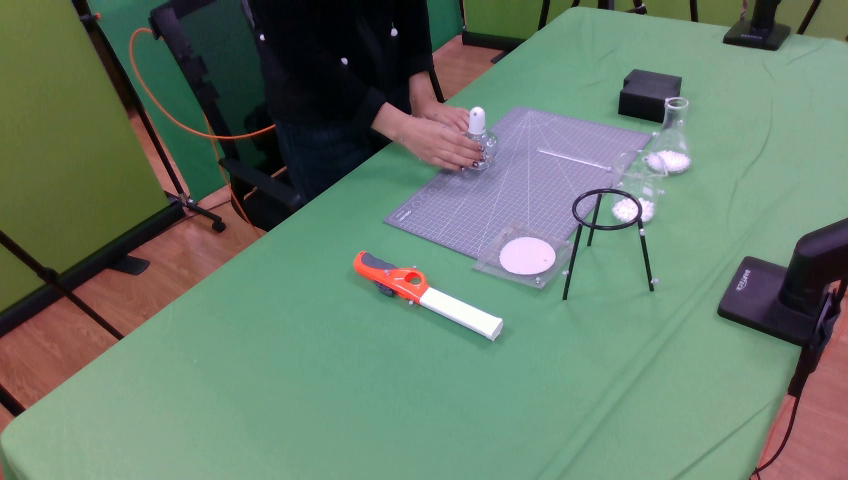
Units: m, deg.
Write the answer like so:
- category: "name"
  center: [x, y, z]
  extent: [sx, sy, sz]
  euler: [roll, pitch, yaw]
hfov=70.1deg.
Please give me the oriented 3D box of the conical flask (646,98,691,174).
- category: "conical flask"
  center: [0.426, -0.180, 1.037]
  extent: [0.075, 0.122, 0.075]
  euler: [-5, 40, 5]

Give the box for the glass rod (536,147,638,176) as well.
- category: "glass rod"
  center: [0.294, -0.145, 1.104]
  extent: [0.198, 0.008, 0.008]
  euler: [22, 50, 31]

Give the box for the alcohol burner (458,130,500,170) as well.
- category: "alcohol burner"
  center: [0.100, -0.190, 1.112]
  extent: [0.078, 0.119, 0.077]
  euler: [-5, 43, 5]

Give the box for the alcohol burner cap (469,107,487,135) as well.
- category: "alcohol burner cap"
  center: [0.097, -0.216, 1.087]
  extent: [0.034, 0.048, 0.033]
  euler: [-2, 41, 2]

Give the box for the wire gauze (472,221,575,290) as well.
- category: "wire gauze"
  center: [0.158, 0.024, 0.933]
  extent: [0.120, 0.011, 0.125]
  euler: [21, 49, 31]

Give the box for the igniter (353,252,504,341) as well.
- category: "igniter"
  center: [-0.005, 0.077, 0.889]
  extent: [0.274, 0.025, 0.057]
  euler: [23, 60, 33]

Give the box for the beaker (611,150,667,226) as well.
- category: "beaker"
  center: [0.337, -0.079, 0.953]
  extent: [0.083, 0.101, 0.074]
  euler: [25, 51, 33]

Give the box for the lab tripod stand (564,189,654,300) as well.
- category: "lab tripod stand"
  center: [0.251, 0.003, 0.845]
  extent: [0.148, 0.132, 0.147]
  euler: [-7, 39, 6]
